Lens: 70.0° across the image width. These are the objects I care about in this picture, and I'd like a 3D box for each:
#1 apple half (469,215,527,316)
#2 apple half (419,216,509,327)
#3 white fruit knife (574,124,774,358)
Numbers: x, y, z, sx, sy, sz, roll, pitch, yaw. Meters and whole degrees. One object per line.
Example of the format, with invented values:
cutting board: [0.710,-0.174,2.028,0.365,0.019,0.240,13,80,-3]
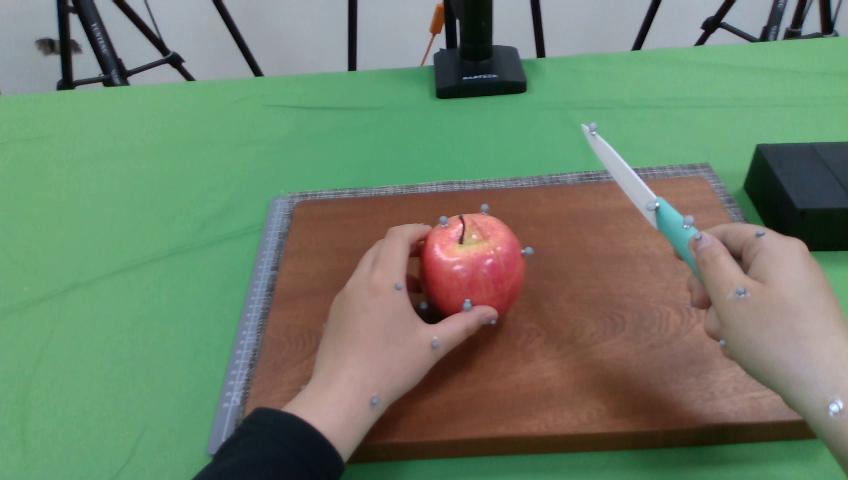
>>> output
apple half: [0.060,0.016,0.463,0.033,0.082,0.080,-21,44,-11]
apple half: [0.024,0.029,0.454,0.053,0.075,0.080,-21,47,-11]
white fruit knife: [0.154,-0.013,0.399,0.016,0.028,0.205,-19,53,-14]
